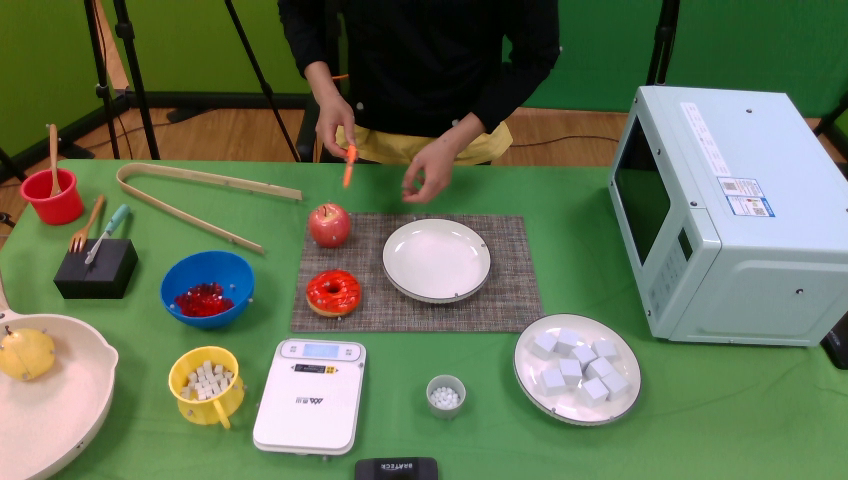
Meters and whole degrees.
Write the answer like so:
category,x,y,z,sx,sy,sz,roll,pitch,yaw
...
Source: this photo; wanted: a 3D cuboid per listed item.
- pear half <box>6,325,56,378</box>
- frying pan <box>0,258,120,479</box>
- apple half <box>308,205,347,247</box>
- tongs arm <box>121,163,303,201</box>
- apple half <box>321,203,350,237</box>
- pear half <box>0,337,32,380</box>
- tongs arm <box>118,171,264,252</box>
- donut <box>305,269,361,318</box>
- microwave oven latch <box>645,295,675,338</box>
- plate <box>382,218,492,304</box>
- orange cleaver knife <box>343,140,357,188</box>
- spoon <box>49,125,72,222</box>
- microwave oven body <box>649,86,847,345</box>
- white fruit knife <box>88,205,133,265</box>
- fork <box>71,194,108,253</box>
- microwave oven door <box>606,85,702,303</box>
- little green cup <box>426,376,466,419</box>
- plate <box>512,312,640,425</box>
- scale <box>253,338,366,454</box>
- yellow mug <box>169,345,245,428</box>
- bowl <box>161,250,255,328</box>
category,x,y,z,sx,sy,sz,roll,pitch,yaw
pear half,-0.608,0.158,0.935,0.076,0.110,0.056,31,51,20
frying pan,-0.647,0.164,0.936,0.307,0.103,0.485,-19,58,-22
apple half,-0.193,-0.021,1.164,0.080,0.075,0.053,37,58,24
tongs arm,-0.444,-0.114,1.266,0.384,0.026,0.050,12,49,8
apple half,-0.166,-0.041,1.183,0.081,0.082,0.033,35,57,27
pear half,-0.631,0.184,0.921,0.070,0.088,0.031,29,49,19
tongs arm,-0.473,-0.057,1.209,0.386,0.028,0.028,23,55,18
donut,-0.160,0.094,1.075,0.099,0.048,0.098,4,45,-3
microwave oven latch,0.412,0.134,1.061,0.030,0.029,0.078,3,45,0
plate,0.023,0.042,1.143,0.209,0.038,0.208,2,46,-2
orange cleaver knife,-0.137,-0.143,1.112,0.012,0.077,0.210,16,14,-11
spoon,-0.718,-0.131,1.189,0.041,0.021,0.193,-4,90,-6
microwave oven body,0.568,-0.053,1.118,0.326,0.261,0.439,2,45,-1
white fruit knife,-0.584,-0.013,1.129,0.016,0.027,0.206,0,32,-5
fork,-0.634,-0.036,1.158,0.028,0.019,0.206,-8,32,-8
microwave oven door,0.423,-0.094,1.140,0.039,0.245,0.353,2,46,-1
little green cup,0.033,0.248,0.950,0.061,0.039,0.061,2,46,-2
plate,0.246,0.213,0.999,0.208,0.039,0.206,2,46,-2
scale,-0.175,0.236,0.951,0.149,0.032,0.199,4,45,-1
yellow mug,-0.322,0.230,0.922,0.100,0.064,0.130,-24,53,-25
bowl,-0.362,0.098,1.039,0.151,0.077,0.150,2,45,-2
